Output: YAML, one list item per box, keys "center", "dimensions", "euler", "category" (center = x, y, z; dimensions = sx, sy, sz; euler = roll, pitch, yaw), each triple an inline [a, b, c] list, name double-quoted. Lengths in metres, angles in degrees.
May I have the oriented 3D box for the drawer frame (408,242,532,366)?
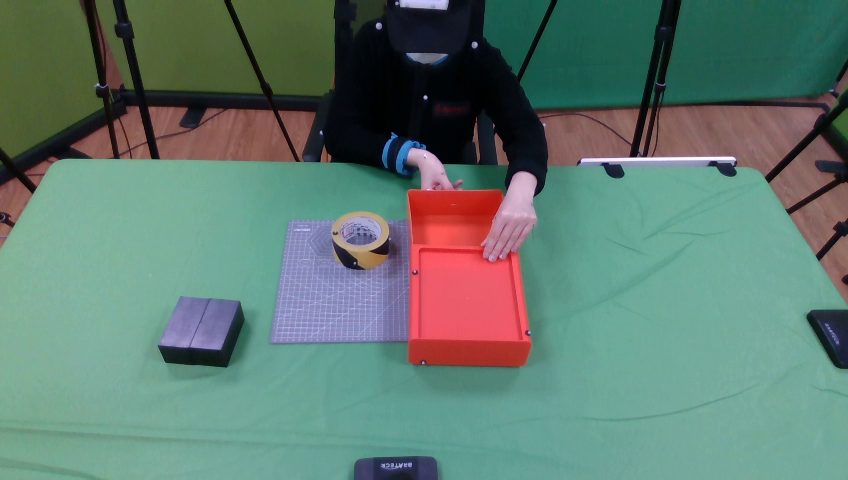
- center: [0.073, 0.107, 1.053]
  dimensions: [0.202, 0.083, 0.212]
  euler: [2, 47, -3]
  category: "drawer frame"

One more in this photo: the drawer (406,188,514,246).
- center: [0.068, -0.007, 1.166]
  dimensions: [0.195, 0.073, 0.210]
  euler: [0, 46, -6]
  category: "drawer"

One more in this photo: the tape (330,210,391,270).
- center: [-0.123, -0.002, 1.164]
  dimensions: [0.117, 0.053, 0.116]
  euler: [3, 46, -3]
  category: "tape"
